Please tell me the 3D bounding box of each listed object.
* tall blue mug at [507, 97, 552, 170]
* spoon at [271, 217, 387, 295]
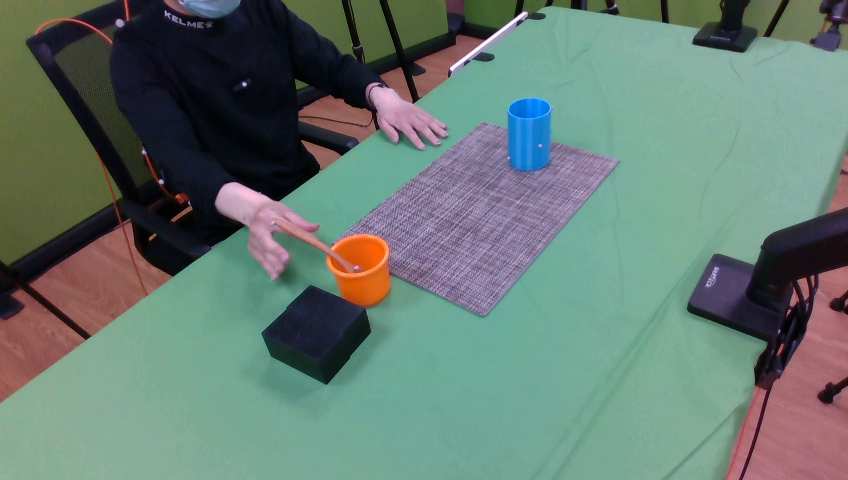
[{"bbox_3d":[0.179,-0.198,1.101,0.078,0.108,0.106,-37,49,-28],"label":"tall blue mug"},{"bbox_3d":[-0.134,0.022,0.865,0.021,0.195,0.041,-36,24,39],"label":"spoon"}]
